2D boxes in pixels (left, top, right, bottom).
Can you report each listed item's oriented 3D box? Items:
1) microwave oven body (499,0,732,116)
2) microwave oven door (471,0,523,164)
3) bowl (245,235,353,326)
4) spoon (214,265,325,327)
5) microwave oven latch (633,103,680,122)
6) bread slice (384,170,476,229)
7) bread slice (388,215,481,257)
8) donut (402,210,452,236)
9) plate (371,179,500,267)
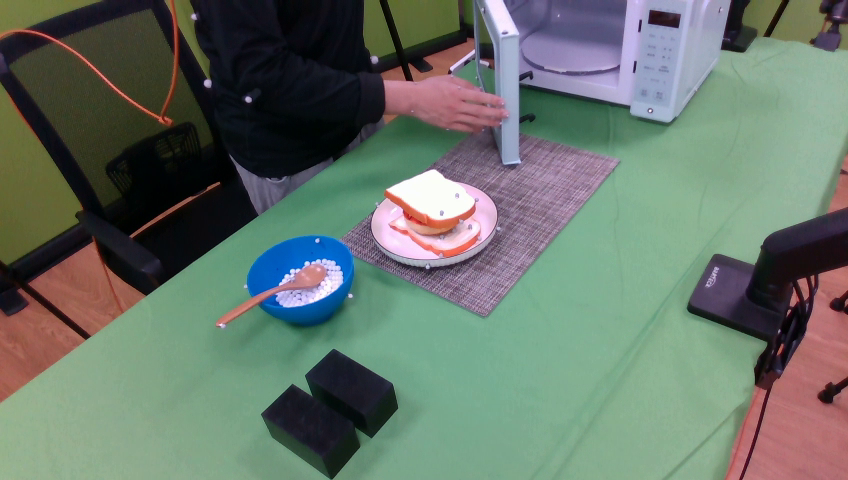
[{"bbox_3d":[0.377,-0.462,1.267,0.438,0.261,0.327,21,48,30],"label":"microwave oven body"},{"bbox_3d":[0.135,-0.342,1.153,0.039,0.245,0.353,-8,40,0],"label":"microwave oven door"},{"bbox_3d":[-0.171,0.070,0.868,0.151,0.077,0.150,-4,41,4],"label":"bowl"},{"bbox_3d":[-0.207,0.073,0.821,0.041,0.021,0.195,22,27,26],"label":"spoon"},{"bbox_3d":[0.443,-0.249,1.157,0.078,0.029,0.030,21,48,30],"label":"microwave oven latch"},{"bbox_3d":[0.017,-0.064,0.935,0.105,0.019,0.130,-27,46,-30],"label":"bread slice"},{"bbox_3d":[0.025,-0.022,0.974,0.107,0.018,0.133,-36,48,-29],"label":"bread slice"},{"bbox_3d":[0.013,-0.048,0.956,0.099,0.048,0.098,-11,42,11],"label":"donut"},{"bbox_3d":[0.020,-0.025,0.977,0.207,0.039,0.206,-4,40,4],"label":"plate"}]
